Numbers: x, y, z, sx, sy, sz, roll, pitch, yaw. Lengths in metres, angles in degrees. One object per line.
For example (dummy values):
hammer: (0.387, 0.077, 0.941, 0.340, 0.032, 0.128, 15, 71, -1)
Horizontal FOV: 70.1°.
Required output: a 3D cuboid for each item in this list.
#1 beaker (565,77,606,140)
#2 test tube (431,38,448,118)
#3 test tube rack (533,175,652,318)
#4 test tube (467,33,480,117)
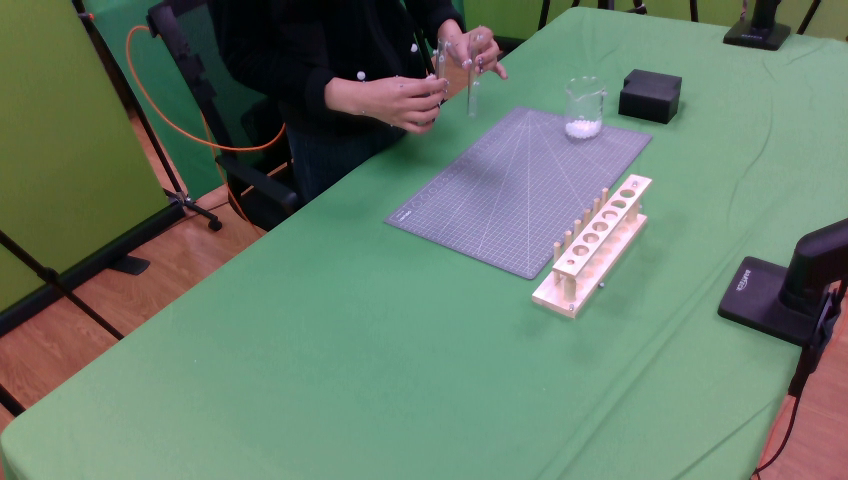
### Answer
beaker: (0.304, -0.247, 1.153, 0.073, 0.101, 0.084, 15, 46, 27)
test tube: (0.024, -0.264, 1.001, 0.017, 0.150, 0.017, 3, 50, -3)
test tube rack: (0.250, -0.001, 0.889, 0.066, 0.085, 0.243, 22, 49, 33)
test tube: (0.084, -0.282, 1.043, 0.017, 0.151, 0.017, 0, 39, 0)
